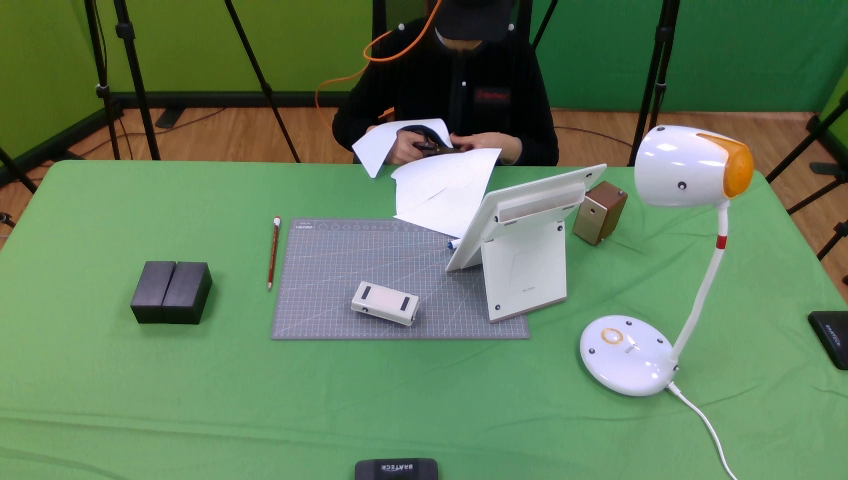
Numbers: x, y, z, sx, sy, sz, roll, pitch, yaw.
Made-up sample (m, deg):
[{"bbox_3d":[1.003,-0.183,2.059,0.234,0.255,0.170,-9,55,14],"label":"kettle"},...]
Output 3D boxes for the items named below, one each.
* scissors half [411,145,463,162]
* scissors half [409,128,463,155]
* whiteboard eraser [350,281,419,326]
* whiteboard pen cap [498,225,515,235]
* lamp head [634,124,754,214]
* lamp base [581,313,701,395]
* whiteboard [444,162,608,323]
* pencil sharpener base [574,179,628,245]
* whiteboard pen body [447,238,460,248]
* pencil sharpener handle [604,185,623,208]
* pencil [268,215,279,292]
[{"bbox_3d":[0.027,-0.196,1.355,0.013,0.040,0.174,-24,18,-34],"label":"scissors half"},{"bbox_3d":[0.024,-0.215,1.347,0.013,0.040,0.174,-29,41,-32],"label":"scissors half"},{"bbox_3d":[-0.069,0.113,1.065,0.112,0.042,0.055,14,46,9],"label":"whiteboard eraser"},{"bbox_3d":[0.166,-0.019,1.222,0.033,0.018,0.018,-14,49,-19],"label":"whiteboard pen cap"},{"bbox_3d":[0.351,-0.089,0.775,0.112,0.113,0.122,-30,30,-28],"label":"lamp head"},{"bbox_3d":[0.361,0.144,0.972,0.178,0.181,0.160,34,53,23],"label":"lamp base"},{"bbox_3d":[0.186,0.025,1.029,0.217,0.306,0.143,-14,68,-18],"label":"whiteboard"},{"bbox_3d":[0.355,-0.057,1.217,0.076,0.107,0.061,-33,56,-31],"label":"pencil sharpener base"},{"bbox_3d":[0.112,-0.006,1.203,0.141,0.017,0.017,-14,49,-18],"label":"whiteboard pen body"},{"bbox_3d":[0.390,-0.091,1.235,0.030,0.068,0.036,-34,69,-31],"label":"pencil sharpener handle"},{"bbox_3d":[-0.290,0.023,1.164,0.012,0.012,0.192,-2,48,-6],"label":"pencil"}]
